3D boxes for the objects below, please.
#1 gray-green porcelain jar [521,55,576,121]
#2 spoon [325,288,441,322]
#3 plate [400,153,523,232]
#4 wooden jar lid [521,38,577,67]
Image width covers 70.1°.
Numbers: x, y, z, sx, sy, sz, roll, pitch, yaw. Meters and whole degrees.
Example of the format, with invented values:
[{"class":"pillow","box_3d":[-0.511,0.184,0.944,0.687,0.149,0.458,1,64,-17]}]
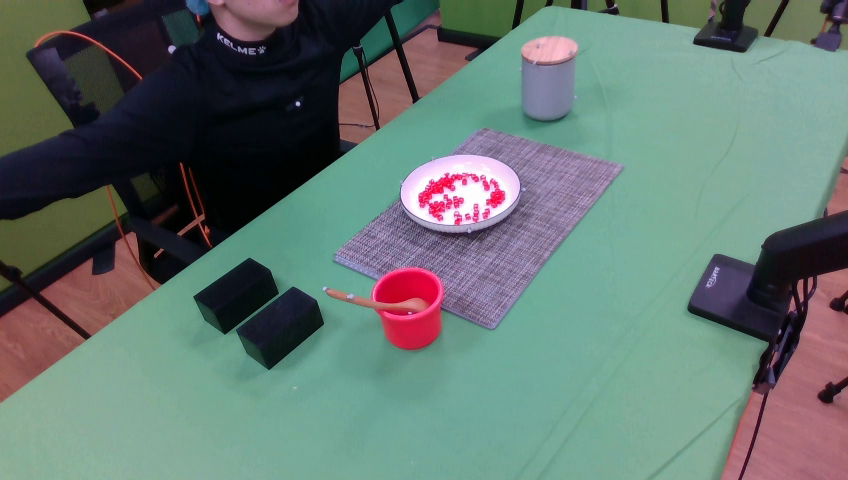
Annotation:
[{"class":"gray-green porcelain jar","box_3d":[0.249,-0.313,1.219,0.106,0.127,0.105,-4,41,4]},{"class":"spoon","box_3d":[-0.047,0.084,0.776,0.195,0.021,0.041,12,27,-42]},{"class":"plate","box_3d":[0.065,-0.078,1.034,0.207,0.039,0.206,-4,40,4]},{"class":"wooden jar lid","box_3d":[0.243,-0.362,1.177,0.108,0.021,0.108,-5,43,5]}]
